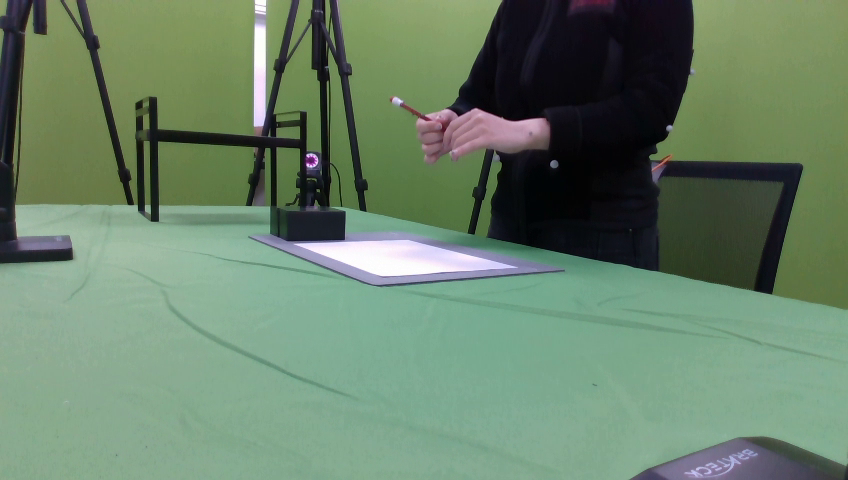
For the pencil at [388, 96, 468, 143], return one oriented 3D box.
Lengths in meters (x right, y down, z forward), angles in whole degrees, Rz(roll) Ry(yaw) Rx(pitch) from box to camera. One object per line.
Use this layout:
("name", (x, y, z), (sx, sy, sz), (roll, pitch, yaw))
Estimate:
("pencil", (0.005, -0.203, 1.014), (0.193, 0.012, 0.012), (36, 27, 34))
